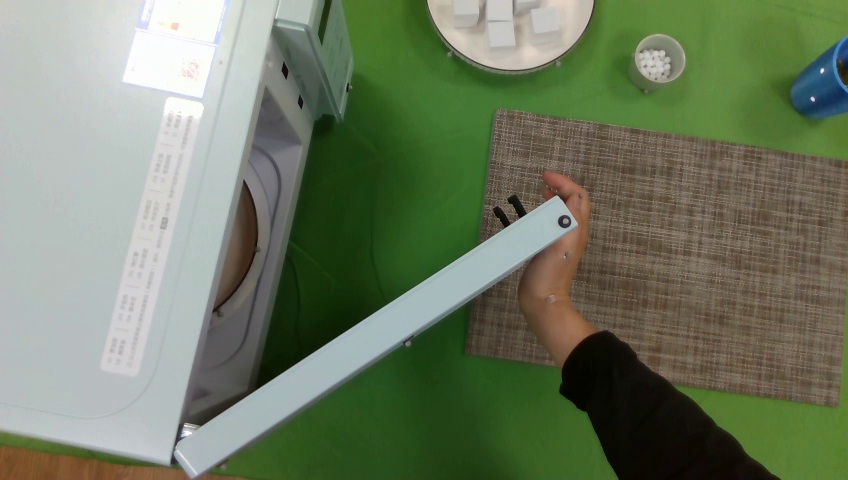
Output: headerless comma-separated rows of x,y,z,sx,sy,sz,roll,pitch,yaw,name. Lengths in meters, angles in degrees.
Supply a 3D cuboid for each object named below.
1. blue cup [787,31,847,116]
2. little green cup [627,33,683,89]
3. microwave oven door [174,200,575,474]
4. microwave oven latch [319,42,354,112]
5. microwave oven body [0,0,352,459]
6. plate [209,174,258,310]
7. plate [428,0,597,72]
0.488,-0.190,0.715,0.093,0.100,0.092,0,85,-3,blue cup
0.280,-0.217,0.743,0.061,0.039,0.061,0,83,-1,little green cup
-0.037,0.083,0.579,0.356,0.244,0.039,-33,84,-5,microwave oven door
-0.103,-0.193,0.708,0.030,0.029,0.079,16,84,0,microwave oven latch
-0.280,-0.060,0.591,0.326,0.260,0.440,11,84,-1,microwave oven body
-0.279,-0.013,0.637,0.209,0.038,0.208,0,85,-3,plate
0.106,-0.303,0.746,0.208,0.039,0.207,0,84,-2,plate
